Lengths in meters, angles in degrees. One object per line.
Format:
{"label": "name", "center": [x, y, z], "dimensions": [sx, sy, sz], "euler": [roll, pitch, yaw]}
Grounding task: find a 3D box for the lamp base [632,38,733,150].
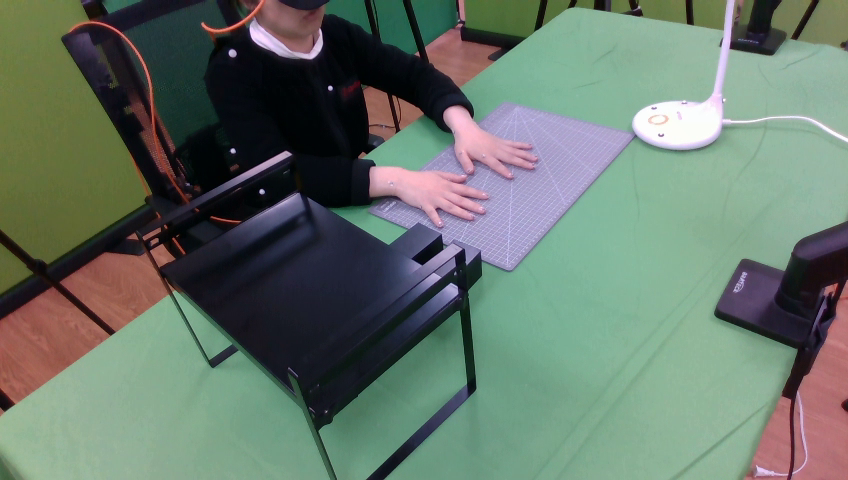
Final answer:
{"label": "lamp base", "center": [0.486, -0.280, 1.108], "dimensions": [0.179, 0.181, 0.159], "euler": [-5, 41, -1]}
